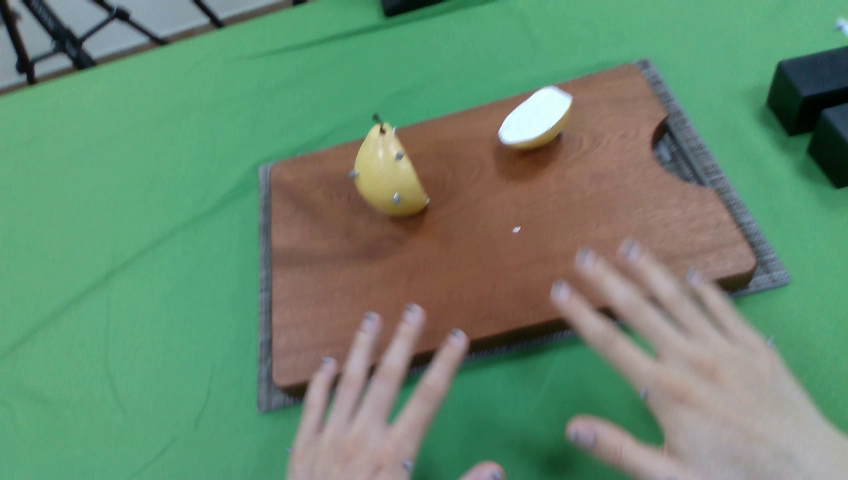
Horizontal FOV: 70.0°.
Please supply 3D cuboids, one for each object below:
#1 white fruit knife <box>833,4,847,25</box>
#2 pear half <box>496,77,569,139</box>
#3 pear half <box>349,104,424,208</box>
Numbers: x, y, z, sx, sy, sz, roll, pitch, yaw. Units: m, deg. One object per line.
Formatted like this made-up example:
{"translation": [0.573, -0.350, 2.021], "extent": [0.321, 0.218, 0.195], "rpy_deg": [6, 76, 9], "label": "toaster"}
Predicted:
{"translation": [0.395, -0.140, 0.505], "extent": [0.027, 0.016, 0.205], "rpy_deg": [2, 50, -11], "label": "white fruit knife"}
{"translation": [0.107, -0.121, 0.579], "extent": [0.070, 0.031, 0.087], "rpy_deg": [-1, 41, 33], "label": "pear half"}
{"translation": [-0.041, -0.073, 0.536], "extent": [0.056, 0.111, 0.075], "rpy_deg": [-29, 50, -7], "label": "pear half"}
